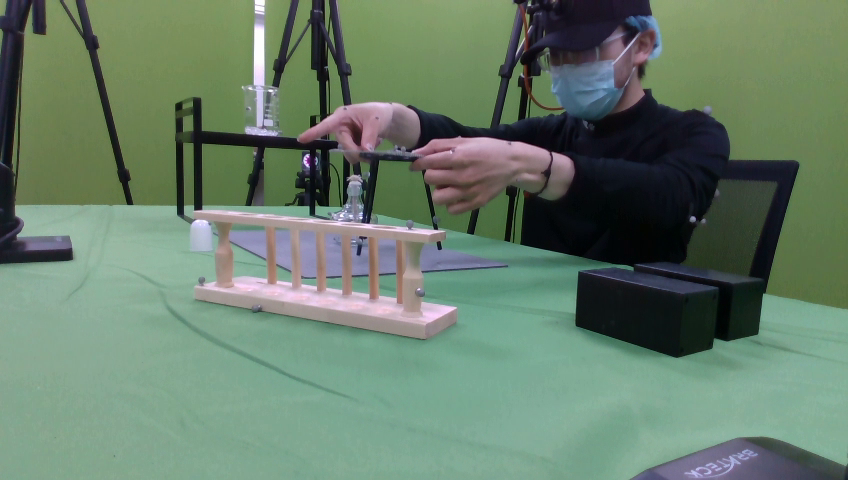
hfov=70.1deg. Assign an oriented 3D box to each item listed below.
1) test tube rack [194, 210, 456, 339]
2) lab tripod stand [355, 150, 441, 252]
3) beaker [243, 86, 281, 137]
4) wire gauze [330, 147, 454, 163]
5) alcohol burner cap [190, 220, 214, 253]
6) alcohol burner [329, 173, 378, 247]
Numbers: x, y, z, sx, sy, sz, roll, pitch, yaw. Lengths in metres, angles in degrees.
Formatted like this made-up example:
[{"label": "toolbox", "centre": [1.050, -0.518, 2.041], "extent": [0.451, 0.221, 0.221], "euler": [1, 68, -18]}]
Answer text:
[{"label": "test tube rack", "centre": [-0.093, 0.023, 0.545], "extent": [0.241, 0.085, 0.067], "euler": [6, 8, 25]}, {"label": "lab tripod stand", "centre": [-0.046, -0.055, 0.834], "extent": [0.148, 0.131, 0.148], "euler": [4, 9, 0]}, {"label": "beaker", "centre": [-0.338, -0.265, 1.252], "extent": [0.073, 0.100, 0.084], "euler": [8, 9, 38]}, {"label": "wire gauze", "centre": [-0.044, -0.119, 0.819], "extent": [0.126, 0.011, 0.121], "euler": [-2, 12, -43]}, {"label": "alcohol burner cap", "centre": [-0.321, -0.006, 0.875], "extent": [0.034, 0.048, 0.034], "euler": [4, 8, 0]}, {"label": "alcohol burner", "centre": [-0.113, -0.049, 0.972], "extent": [0.078, 0.119, 0.078], "euler": [1, 9, 0]}]
